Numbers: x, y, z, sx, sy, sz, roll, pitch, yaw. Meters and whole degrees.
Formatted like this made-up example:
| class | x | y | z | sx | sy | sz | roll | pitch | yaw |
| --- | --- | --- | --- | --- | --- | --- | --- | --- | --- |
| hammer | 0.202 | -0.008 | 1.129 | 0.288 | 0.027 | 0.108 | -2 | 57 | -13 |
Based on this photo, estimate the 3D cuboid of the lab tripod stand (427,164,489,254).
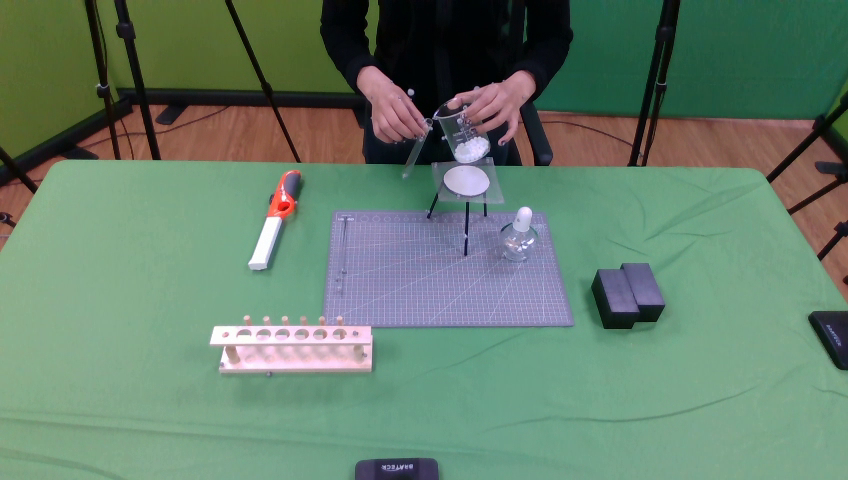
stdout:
| class | x | y | z | sx | sy | sz | roll | pitch | yaw |
| --- | --- | --- | --- | --- | --- | --- | --- | --- | --- |
| lab tripod stand | 0.078 | -0.068 | 1.188 | 0.148 | 0.132 | 0.147 | 3 | 47 | -3 |

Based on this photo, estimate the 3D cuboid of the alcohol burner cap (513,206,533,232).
| class | x | y | z | sx | sy | sz | roll | pitch | yaw |
| --- | --- | --- | --- | --- | --- | --- | --- | --- | --- |
| alcohol burner cap | 0.186 | -0.042 | 1.134 | 0.034 | 0.048 | 0.033 | 6 | 41 | -5 |

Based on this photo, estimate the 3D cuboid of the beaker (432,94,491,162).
| class | x | y | z | sx | sy | sz | roll | pitch | yaw |
| --- | --- | --- | --- | --- | --- | --- | --- | --- | --- |
| beaker | 0.069 | -0.195 | 1.074 | 0.084 | 0.101 | 0.073 | -17 | 33 | 16 |

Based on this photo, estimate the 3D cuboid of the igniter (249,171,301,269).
| class | x | y | z | sx | sy | sz | roll | pitch | yaw |
| --- | --- | --- | --- | --- | --- | --- | --- | --- | --- |
| igniter | -0.297 | -0.049 | 1.221 | 0.057 | 0.025 | 0.275 | -1 | 45 | 9 |

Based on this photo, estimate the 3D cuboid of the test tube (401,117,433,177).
| class | x | y | z | sx | sy | sz | roll | pitch | yaw |
| --- | --- | --- | --- | --- | --- | --- | --- | --- | --- |
| test tube | -0.015 | -0.169 | 1.123 | 0.017 | 0.150 | 0.017 | 12 | 51 | -15 |

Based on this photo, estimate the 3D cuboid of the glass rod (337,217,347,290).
| class | x | y | z | sx | sy | sz | roll | pitch | yaw |
| --- | --- | --- | --- | --- | --- | --- | --- | --- | --- |
| glass rod | -0.158 | 0.021 | 1.171 | 0.008 | 0.008 | 0.198 | 1 | 43 | -2 |

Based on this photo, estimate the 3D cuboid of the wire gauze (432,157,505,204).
| class | x | y | z | sx | sy | sz | roll | pitch | yaw |
| --- | --- | --- | --- | --- | --- | --- | --- | --- | --- |
| wire gauze | 0.081 | -0.112 | 1.137 | 0.125 | 0.011 | 0.120 | -2 | 48 | -6 |

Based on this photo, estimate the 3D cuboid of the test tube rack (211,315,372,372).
| class | x | y | z | sx | sy | sz | roll | pitch | yaw |
| --- | --- | --- | --- | --- | --- | --- | --- | --- | --- |
| test tube rack | -0.208 | 0.163 | 0.982 | 0.242 | 0.085 | 0.066 | 1 | 46 | -4 |

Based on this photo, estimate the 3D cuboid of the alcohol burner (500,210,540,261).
| class | x | y | z | sx | sy | sz | roll | pitch | yaw |
| --- | --- | --- | --- | --- | --- | --- | --- | --- | --- |
| alcohol burner | 0.185 | -0.016 | 1.159 | 0.078 | 0.120 | 0.077 | 2 | 48 | -2 |
